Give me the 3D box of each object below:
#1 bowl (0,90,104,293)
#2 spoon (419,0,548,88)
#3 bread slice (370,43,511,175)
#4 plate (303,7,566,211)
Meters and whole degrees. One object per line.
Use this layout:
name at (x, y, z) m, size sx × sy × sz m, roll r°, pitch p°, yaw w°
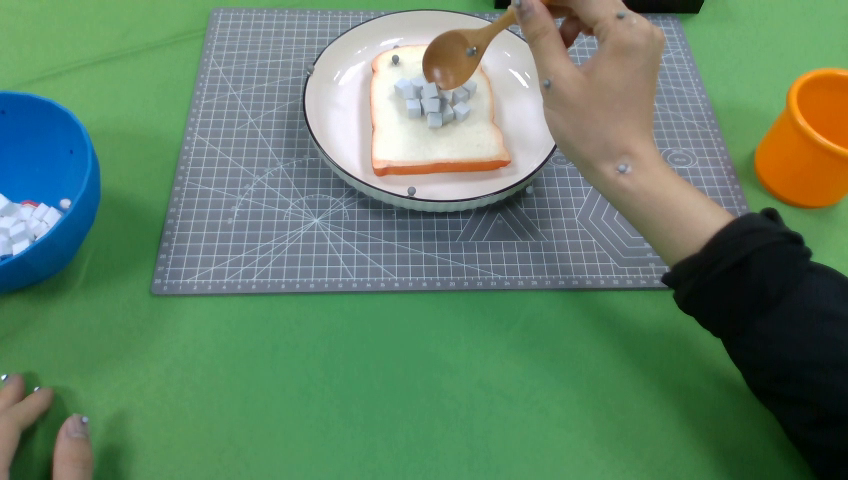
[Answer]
bowl at (-0.284, -0.019, 0.407) m, size 0.151 × 0.077 × 0.150 m, roll 1°, pitch 59°, yaw -2°
spoon at (0.053, -0.146, 0.401) m, size 0.021 × 0.193 × 0.042 m, roll -26°, pitch 98°, yaw -29°
bread slice at (0.004, -0.110, 0.499) m, size 0.107 × 0.018 × 0.133 m, roll -7°, pitch 61°, yaw -7°
plate at (0.008, -0.107, 0.495) m, size 0.209 × 0.038 × 0.207 m, roll 1°, pitch 60°, yaw -2°
